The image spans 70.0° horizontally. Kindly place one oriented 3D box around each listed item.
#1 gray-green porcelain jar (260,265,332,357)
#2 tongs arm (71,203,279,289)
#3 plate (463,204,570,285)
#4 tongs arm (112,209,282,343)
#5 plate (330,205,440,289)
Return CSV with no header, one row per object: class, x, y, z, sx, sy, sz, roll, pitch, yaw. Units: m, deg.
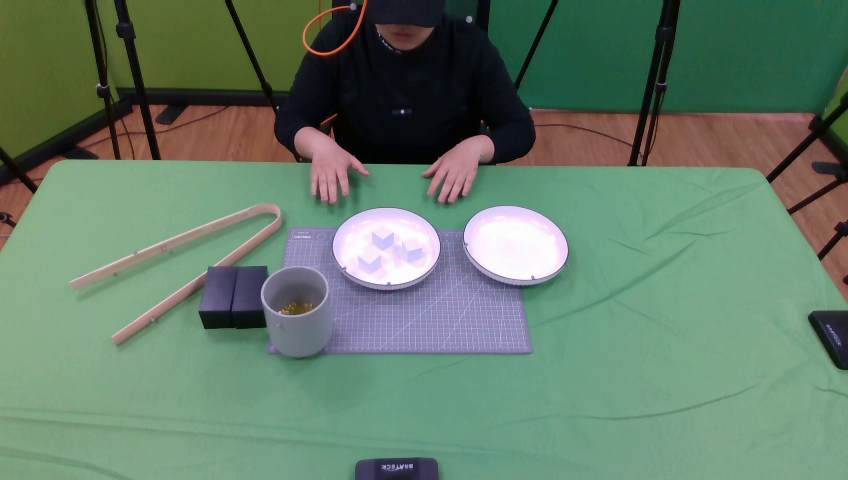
gray-green porcelain jar,-0.205,0.121,0.989,0.106,0.127,0.105,2,46,-2
tongs arm,-0.454,0.011,1.144,0.385,0.026,0.050,-29,55,-29
plate,0.178,0.011,1.184,0.209,0.038,0.208,3,46,-3
tongs arm,-0.397,0.057,1.109,0.028,0.028,0.387,28,50,25
plate,-0.074,0.017,1.160,0.208,0.039,0.206,2,47,-2
